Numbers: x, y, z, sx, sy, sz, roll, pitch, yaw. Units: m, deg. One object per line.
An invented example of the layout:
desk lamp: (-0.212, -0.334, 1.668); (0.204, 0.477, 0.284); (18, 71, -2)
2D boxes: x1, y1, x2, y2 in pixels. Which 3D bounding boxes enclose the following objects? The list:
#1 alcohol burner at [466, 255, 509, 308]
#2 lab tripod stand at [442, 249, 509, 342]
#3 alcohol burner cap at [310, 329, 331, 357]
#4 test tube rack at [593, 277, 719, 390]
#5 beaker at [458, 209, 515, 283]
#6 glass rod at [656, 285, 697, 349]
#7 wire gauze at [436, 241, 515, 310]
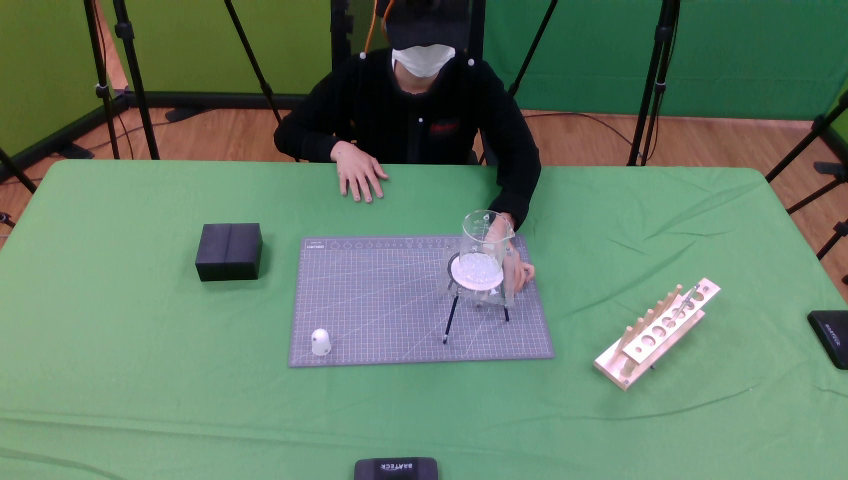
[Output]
alcohol burner: (0.115, 0.066, 1.076); (0.078, 0.119, 0.077); (2, 48, -3)
lab tripod stand: (0.081, 0.091, 1.036); (0.148, 0.132, 0.147); (3, 44, -3)
alcohol burner cap: (-0.173, 0.168, 1.005); (0.034, 0.048, 0.033); (2, 46, -2)
test tube rack: (0.401, 0.148, 1.043); (0.242, 0.085, 0.066); (-30, 55, -29)
beaker: (0.094, 0.013, 0.952); (0.084, 0.101, 0.073); (12, 46, 7)
glass rod: (0.401, 0.128, 0.971); (0.008, 0.201, 0.008); (0, 53, 1)
wire gauze: (0.086, 0.052, 0.982); (0.125, 0.011, 0.121); (11, 47, 2)
